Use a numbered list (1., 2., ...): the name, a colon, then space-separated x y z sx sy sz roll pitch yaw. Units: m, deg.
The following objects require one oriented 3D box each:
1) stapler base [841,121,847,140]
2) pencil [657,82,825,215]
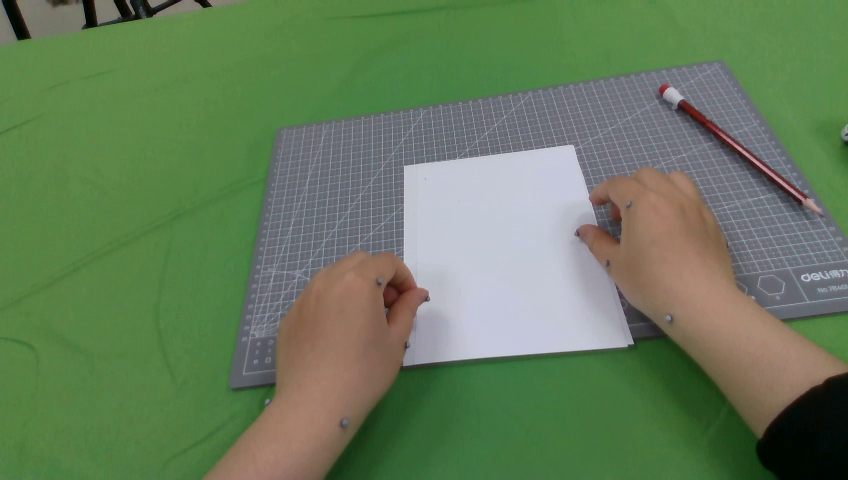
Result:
1. stapler base: 0.371 -0.059 0.460 0.041 0.025 0.129 -11 50 5
2. pencil: 0.258 -0.082 0.506 0.012 0.012 0.192 -22 49 -9
